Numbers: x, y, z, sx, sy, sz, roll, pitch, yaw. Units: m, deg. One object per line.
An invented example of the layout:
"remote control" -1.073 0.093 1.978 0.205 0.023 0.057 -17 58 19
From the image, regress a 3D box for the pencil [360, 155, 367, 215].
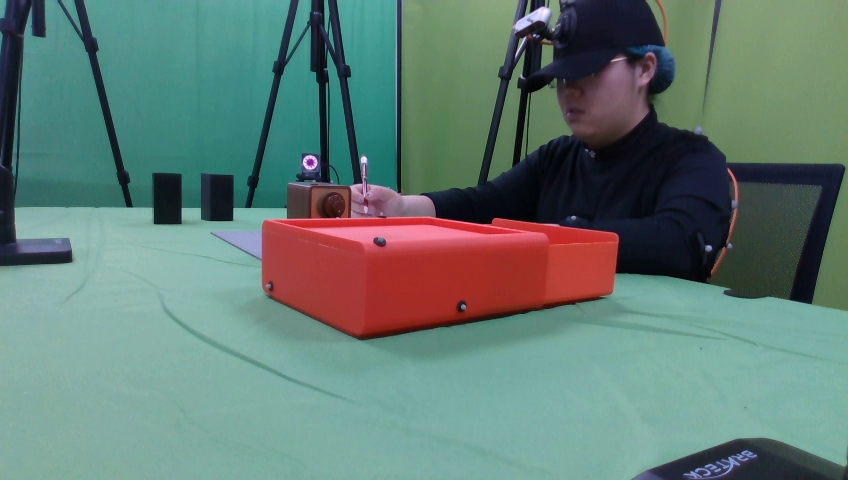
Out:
"pencil" -0.104 -0.097 1.048 0.012 0.012 0.193 2 36 -8

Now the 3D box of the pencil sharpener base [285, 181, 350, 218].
"pencil sharpener base" -0.139 -0.021 0.789 0.062 0.107 0.076 -2 9 -36

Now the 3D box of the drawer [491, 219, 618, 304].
"drawer" 0.071 0.021 0.669 0.213 0.073 0.193 -3 10 -39

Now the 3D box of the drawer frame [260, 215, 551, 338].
"drawer frame" -0.021 0.023 0.595 0.215 0.082 0.200 -4 10 -38

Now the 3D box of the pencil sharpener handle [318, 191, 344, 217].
"pencil sharpener handle" -0.107 -0.026 0.747 0.036 0.067 0.030 -5 11 -36
